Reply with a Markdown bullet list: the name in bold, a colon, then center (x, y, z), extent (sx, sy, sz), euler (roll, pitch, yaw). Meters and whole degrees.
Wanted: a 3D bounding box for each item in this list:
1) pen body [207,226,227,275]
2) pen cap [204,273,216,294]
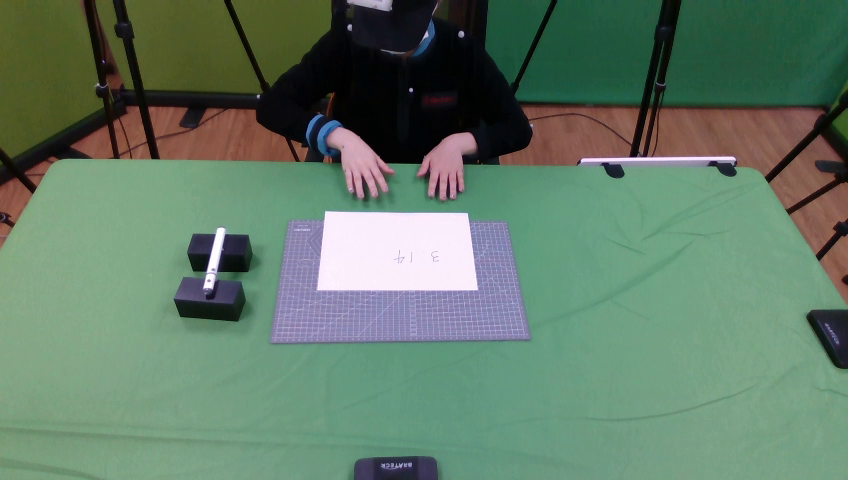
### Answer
- **pen body**: center (-0.369, 0.030, 1.076), extent (0.017, 0.017, 0.143), euler (0, 46, -5)
- **pen cap**: center (-0.364, 0.075, 1.032), extent (0.017, 0.017, 0.038), euler (-2, 45, -6)
